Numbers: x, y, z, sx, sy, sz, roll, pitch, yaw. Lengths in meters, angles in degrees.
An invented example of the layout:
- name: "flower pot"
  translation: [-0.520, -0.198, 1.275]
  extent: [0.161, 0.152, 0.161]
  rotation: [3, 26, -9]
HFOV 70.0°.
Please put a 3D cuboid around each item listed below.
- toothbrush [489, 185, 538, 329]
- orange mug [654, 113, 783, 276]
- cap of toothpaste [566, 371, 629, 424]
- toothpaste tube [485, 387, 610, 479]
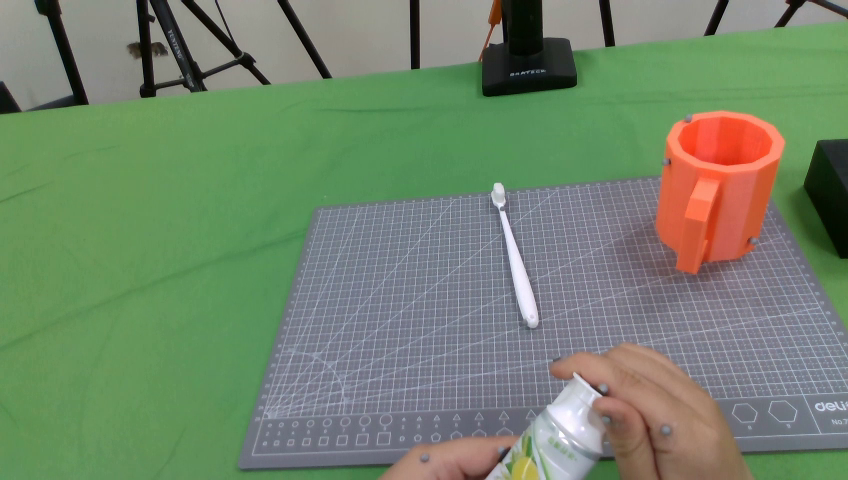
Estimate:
- name: "toothbrush"
  translation: [0.081, 0.009, 0.552]
  extent: [0.014, 0.017, 0.180]
  rotation: [2, 43, -8]
- name: "orange mug"
  translation: [0.235, -0.033, 0.501]
  extent: [0.083, 0.102, 0.126]
  rotation: [16, 45, 28]
- name: "cap of toothpaste"
  translation: [0.087, 0.081, 0.307]
  extent: [0.037, 0.038, 0.011]
  rotation: [38, 94, 41]
- name: "toothpaste tube"
  translation: [0.040, 0.144, 0.316]
  extent: [0.165, 0.035, 0.054]
  rotation: [-54, 33, 4]
